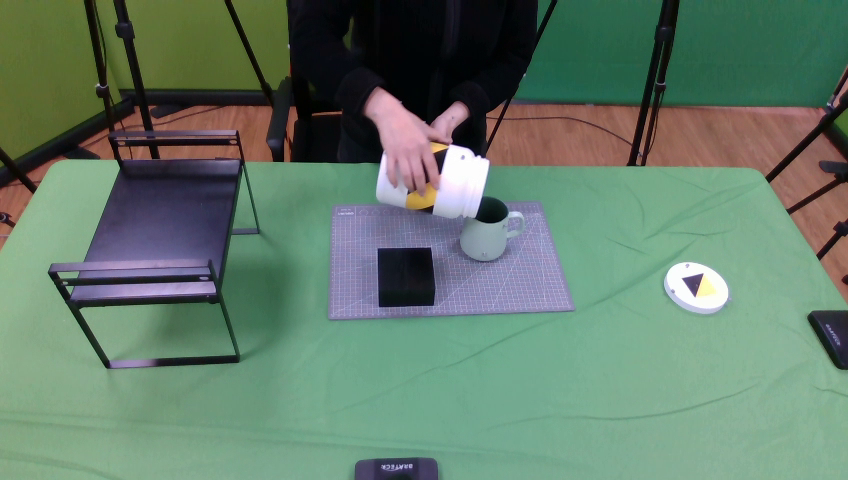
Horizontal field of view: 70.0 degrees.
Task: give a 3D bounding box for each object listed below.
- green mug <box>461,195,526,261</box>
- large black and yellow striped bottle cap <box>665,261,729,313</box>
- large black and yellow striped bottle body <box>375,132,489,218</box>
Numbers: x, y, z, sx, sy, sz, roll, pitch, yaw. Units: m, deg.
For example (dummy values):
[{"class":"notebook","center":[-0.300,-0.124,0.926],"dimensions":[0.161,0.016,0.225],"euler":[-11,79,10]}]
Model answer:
[{"class":"green mug","center":[0.136,-0.024,1.168],"dimensions":[0.125,0.105,0.092],"euler":[-7,47,-10]},{"class":"large black and yellow striped bottle cap","center":[0.518,0.087,1.152],"dimensions":[0.115,0.019,0.114],"euler":[2,47,-2]},{"class":"large black and yellow striped bottle body","center":[0.015,-0.113,1.088],"dimensions":[0.184,0.131,0.130],"euler":[13,47,2]}]
